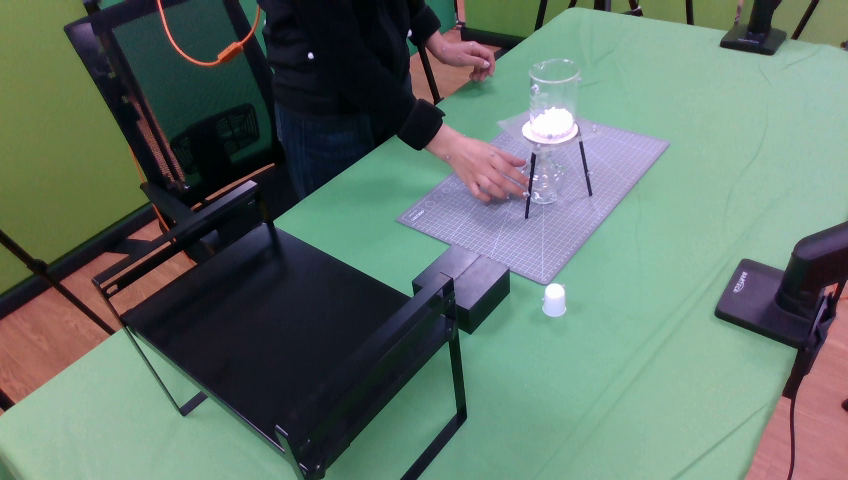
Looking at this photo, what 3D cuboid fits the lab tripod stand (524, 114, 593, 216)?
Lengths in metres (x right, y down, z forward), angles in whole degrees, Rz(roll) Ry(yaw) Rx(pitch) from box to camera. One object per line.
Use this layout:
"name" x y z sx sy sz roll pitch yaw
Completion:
"lab tripod stand" 0.210 -0.127 1.001 0.148 0.132 0.147 -4 43 4

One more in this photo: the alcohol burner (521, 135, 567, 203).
"alcohol burner" 0.200 -0.122 1.011 0.078 0.119 0.077 -6 41 6

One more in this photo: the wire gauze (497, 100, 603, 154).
"wire gauze" 0.199 -0.179 0.962 0.125 0.011 0.120 -21 42 -12

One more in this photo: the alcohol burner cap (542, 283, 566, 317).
"alcohol burner cap" 0.181 0.081 0.839 0.034 0.048 0.033 -4 40 4

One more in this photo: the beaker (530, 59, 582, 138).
"beaker" 0.198 -0.217 0.932 0.074 0.101 0.083 -22 43 -16
